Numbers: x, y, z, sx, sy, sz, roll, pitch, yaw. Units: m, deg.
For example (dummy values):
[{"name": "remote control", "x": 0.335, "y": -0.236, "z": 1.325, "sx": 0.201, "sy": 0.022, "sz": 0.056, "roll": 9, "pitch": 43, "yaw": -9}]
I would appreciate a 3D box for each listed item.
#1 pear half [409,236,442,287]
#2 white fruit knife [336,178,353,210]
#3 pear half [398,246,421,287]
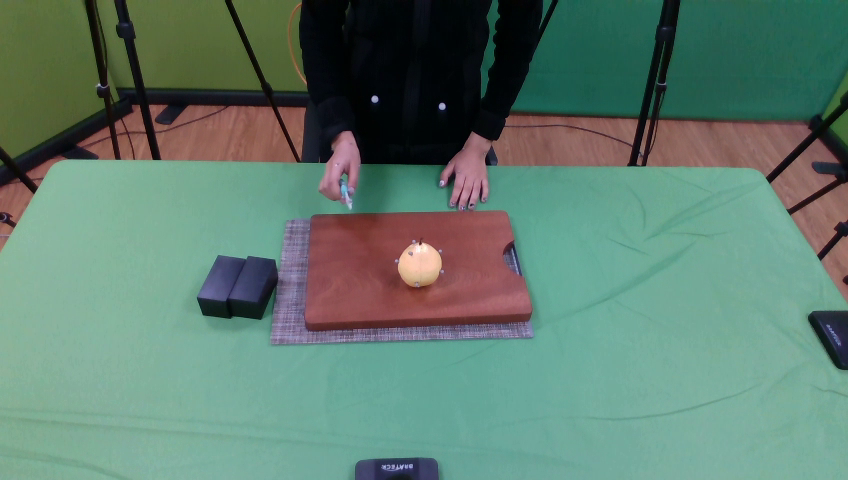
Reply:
[{"name": "pear half", "x": 0.004, "y": 0.029, "z": 1.070, "sx": 0.056, "sy": 0.110, "sz": 0.076, "roll": -18, "pitch": 53, "yaw": -20}, {"name": "white fruit knife", "x": -0.145, "y": -0.086, "z": 1.123, "sx": 0.016, "sy": 0.027, "sz": 0.206, "roll": -8, "pitch": 19, "yaw": -12}, {"name": "pear half", "x": -0.029, "y": 0.046, "z": 1.066, "sx": 0.031, "sy": 0.088, "sz": 0.070, "roll": -18, "pitch": 55, "yaw": -20}]
